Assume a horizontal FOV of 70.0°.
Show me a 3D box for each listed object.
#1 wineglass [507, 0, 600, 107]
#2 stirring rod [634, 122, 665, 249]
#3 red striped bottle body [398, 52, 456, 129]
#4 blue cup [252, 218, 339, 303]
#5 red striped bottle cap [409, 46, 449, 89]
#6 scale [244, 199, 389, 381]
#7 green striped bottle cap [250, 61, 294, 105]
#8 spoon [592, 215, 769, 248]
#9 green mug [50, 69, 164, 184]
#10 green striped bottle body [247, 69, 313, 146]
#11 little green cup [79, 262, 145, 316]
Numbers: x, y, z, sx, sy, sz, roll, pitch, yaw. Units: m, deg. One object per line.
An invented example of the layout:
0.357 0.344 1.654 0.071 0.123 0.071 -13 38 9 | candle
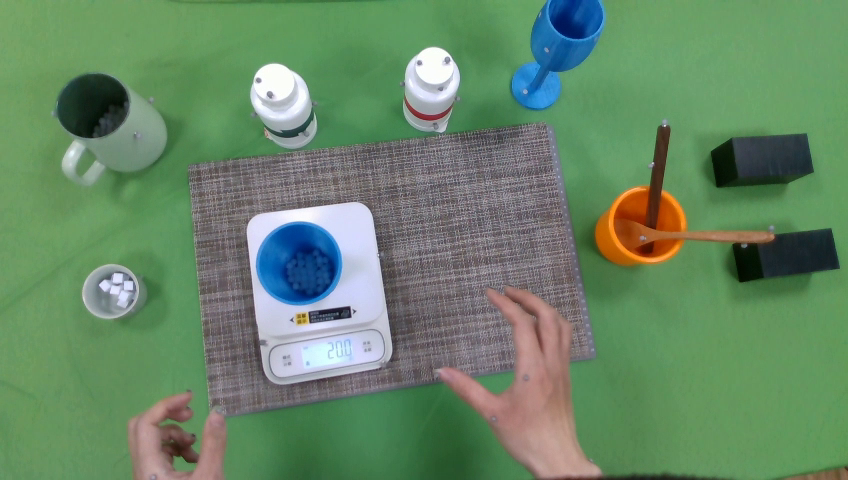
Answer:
0.145 -0.219 0.707 0.074 0.172 0.073 1 80 -4 | wineglass
0.261 -0.057 0.703 0.014 0.178 0.005 -2 40 8 | stirring rod
0.002 -0.181 0.717 0.063 0.120 0.063 1 80 -5 | red striped bottle body
-0.130 0.027 0.646 0.093 0.100 0.092 1 82 -4 | blue cup
0.006 -0.190 0.664 0.044 0.018 0.044 1 77 -4 | red striped bottle cap
-0.126 0.056 0.708 0.149 0.031 0.200 -9 82 -6 | scale
-0.161 -0.167 0.644 0.044 0.020 0.044 0 80 -2 | green striped bottle cap
0.287 -0.008 0.696 0.022 0.192 0.041 9 85 -47 | spoon
-0.364 -0.120 0.685 0.092 0.105 0.125 27 79 0 | green mug
-0.165 -0.156 0.699 0.063 0.119 0.063 1 80 -4 | green striped bottle body
-0.351 0.057 0.689 0.061 0.039 0.061 1 80 -6 | little green cup
